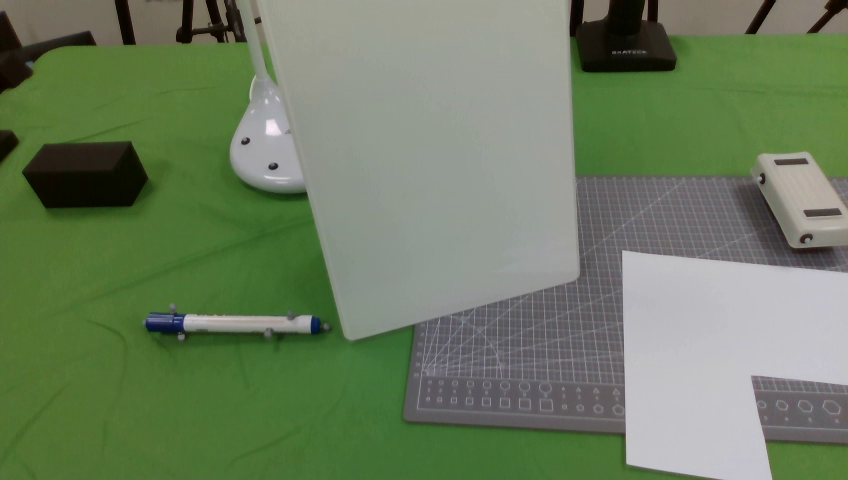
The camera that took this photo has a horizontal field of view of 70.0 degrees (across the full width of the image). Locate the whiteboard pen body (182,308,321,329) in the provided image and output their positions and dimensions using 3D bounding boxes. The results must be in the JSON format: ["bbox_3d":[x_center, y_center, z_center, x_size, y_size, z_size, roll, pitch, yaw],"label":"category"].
[{"bbox_3d":[-0.160,0.067,0.523,0.141,0.017,0.017,1,45,1],"label":"whiteboard pen body"}]

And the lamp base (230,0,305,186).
[{"bbox_3d":[-0.157,-0.176,0.653,0.160,0.182,0.177,-35,50,-27],"label":"lamp base"}]

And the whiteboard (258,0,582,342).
[{"bbox_3d":[0.000,-0.102,0.520,0.217,0.308,0.142,-14,26,-8],"label":"whiteboard"}]

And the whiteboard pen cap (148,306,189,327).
[{"bbox_3d":[-0.219,0.066,0.524,0.033,0.018,0.018,2,45,-2],"label":"whiteboard pen cap"}]

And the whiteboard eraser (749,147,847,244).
[{"bbox_3d":[0.353,-0.041,0.571,0.055,0.042,0.111,0,45,2],"label":"whiteboard eraser"}]
